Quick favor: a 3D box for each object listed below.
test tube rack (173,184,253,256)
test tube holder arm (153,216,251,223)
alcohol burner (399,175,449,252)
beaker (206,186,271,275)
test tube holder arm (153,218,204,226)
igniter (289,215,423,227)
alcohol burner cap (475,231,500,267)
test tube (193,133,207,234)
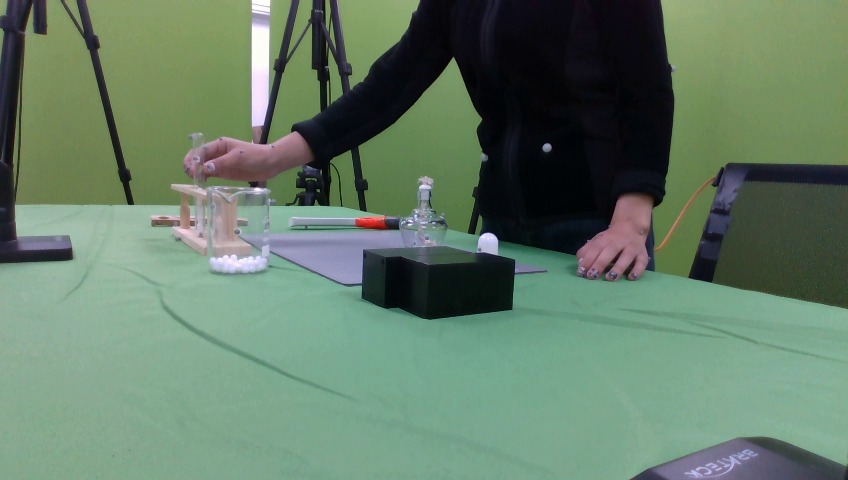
[{"bbox_3d":[-0.329,-0.036,0.927,0.067,0.085,0.241,-2,9,-32],"label":"test tube rack"},{"bbox_3d":[-0.422,-0.039,1.159,0.179,0.015,0.013,-2,43,-31],"label":"test tube holder arm"},{"bbox_3d":[0.000,-0.041,0.937,0.078,0.119,0.078,0,7,0],"label":"alcohol burner"},{"bbox_3d":[-0.220,-0.011,0.717,0.074,0.100,0.084,2,8,-3],"label":"beaker"},{"bbox_3d":[-0.459,-0.034,1.132,0.088,0.015,0.010,-1,43,-30],"label":"test tube holder arm"},{"bbox_3d":[-0.133,-0.038,1.232,0.278,0.025,0.057,-1,-2,-25],"label":"igniter"},{"bbox_3d":[0.088,0.012,0.830,0.034,0.048,0.034,3,7,0],"label":"alcohol burner cap"},{"bbox_3d":[-0.335,-0.085,0.904,0.017,0.150,0.017,0,3,0],"label":"test tube"}]
